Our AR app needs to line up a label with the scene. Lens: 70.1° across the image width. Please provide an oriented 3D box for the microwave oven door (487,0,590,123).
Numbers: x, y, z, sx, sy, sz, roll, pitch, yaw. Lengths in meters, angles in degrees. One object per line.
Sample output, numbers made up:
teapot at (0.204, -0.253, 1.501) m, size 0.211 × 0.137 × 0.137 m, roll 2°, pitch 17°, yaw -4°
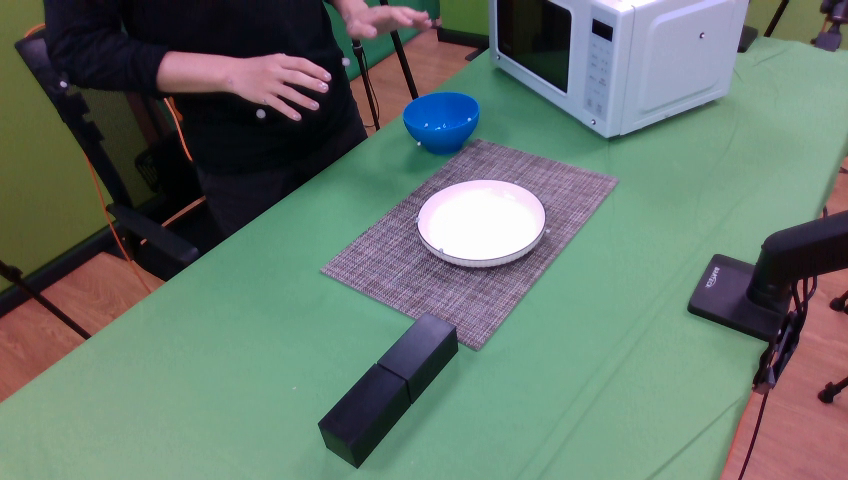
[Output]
microwave oven door at (0.232, -0.420, 1.230) m, size 0.039 × 0.245 × 0.352 m, roll -22°, pitch 43°, yaw -16°

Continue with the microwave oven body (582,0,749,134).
microwave oven body at (0.382, -0.444, 1.246) m, size 0.327 × 0.261 × 0.437 m, roll -22°, pitch 42°, yaw -16°

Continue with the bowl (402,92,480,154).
bowl at (0.036, -0.220, 1.179) m, size 0.151 × 0.077 × 0.150 m, roll -4°, pitch 40°, yaw 4°

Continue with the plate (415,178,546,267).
plate at (0.091, -0.026, 0.970) m, size 0.207 × 0.039 × 0.206 m, roll -4°, pitch 41°, yaw 4°

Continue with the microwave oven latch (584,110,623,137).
microwave oven latch at (0.337, -0.222, 1.142) m, size 0.030 × 0.029 × 0.078 m, roll -21°, pitch 42°, yaw -14°
